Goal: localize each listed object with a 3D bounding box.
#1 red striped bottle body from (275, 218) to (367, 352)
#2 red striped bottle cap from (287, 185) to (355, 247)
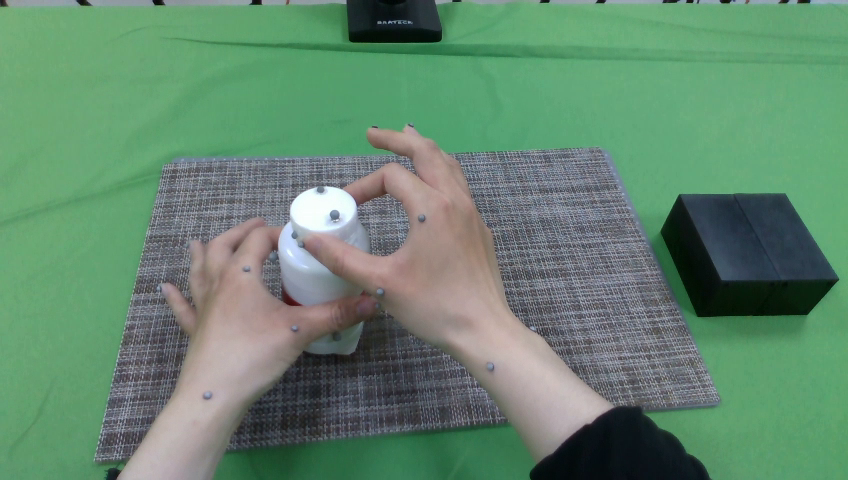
[{"bbox_3d":[-0.075,0.023,0.440,0.063,0.120,0.062,6,45,-6],"label":"red striped bottle body"},{"bbox_3d":[-0.068,-0.017,0.398,0.044,0.018,0.044,2,46,-2],"label":"red striped bottle cap"}]
